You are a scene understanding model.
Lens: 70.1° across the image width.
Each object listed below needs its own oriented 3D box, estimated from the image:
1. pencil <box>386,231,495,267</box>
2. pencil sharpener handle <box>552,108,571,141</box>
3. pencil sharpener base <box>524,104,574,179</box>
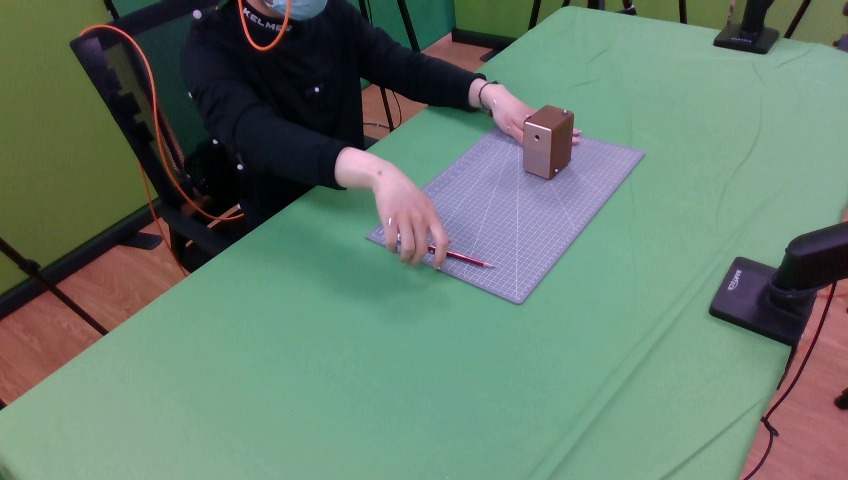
[{"bbox_3d":[0.024,0.015,0.951,0.193,0.012,0.012,17,46,24],"label":"pencil"},{"bbox_3d":[0.254,-0.212,1.091,0.035,0.068,0.031,27,51,33],"label":"pencil sharpener handle"},{"bbox_3d":[0.222,-0.176,1.071,0.061,0.107,0.077,26,50,33],"label":"pencil sharpener base"}]
